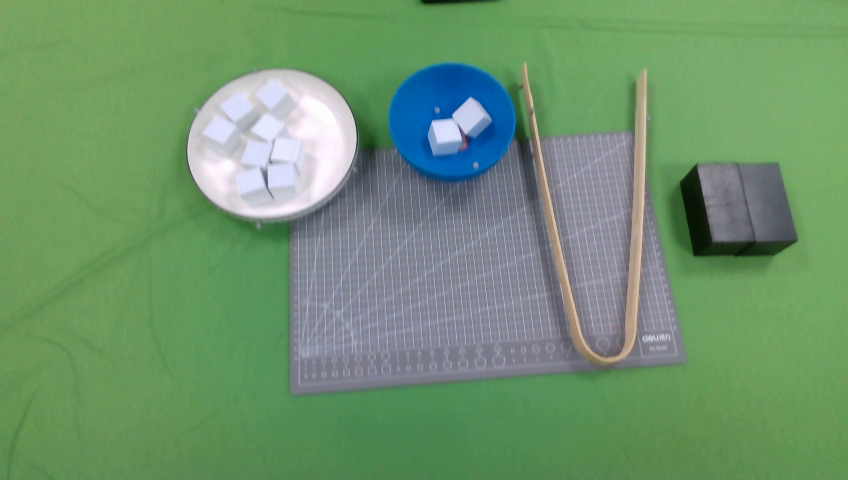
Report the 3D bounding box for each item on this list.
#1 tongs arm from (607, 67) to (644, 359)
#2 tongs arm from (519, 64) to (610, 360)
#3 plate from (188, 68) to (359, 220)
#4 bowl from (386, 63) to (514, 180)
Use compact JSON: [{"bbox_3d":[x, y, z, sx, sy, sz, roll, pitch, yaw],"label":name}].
[{"bbox_3d":[0.251,-0.044,0.740,0.028,0.028,0.385,12,71,-4],"label":"tongs arm"},{"bbox_3d":[0.166,-0.046,0.736,0.051,0.026,0.382,-3,71,-6],"label":"tongs arm"},{"bbox_3d":[-0.184,-0.117,0.756,0.208,0.039,0.206,0,70,0],"label":"plate"},{"bbox_3d":[0.030,-0.131,0.742,0.151,0.077,0.150,0,70,-1],"label":"bowl"}]
